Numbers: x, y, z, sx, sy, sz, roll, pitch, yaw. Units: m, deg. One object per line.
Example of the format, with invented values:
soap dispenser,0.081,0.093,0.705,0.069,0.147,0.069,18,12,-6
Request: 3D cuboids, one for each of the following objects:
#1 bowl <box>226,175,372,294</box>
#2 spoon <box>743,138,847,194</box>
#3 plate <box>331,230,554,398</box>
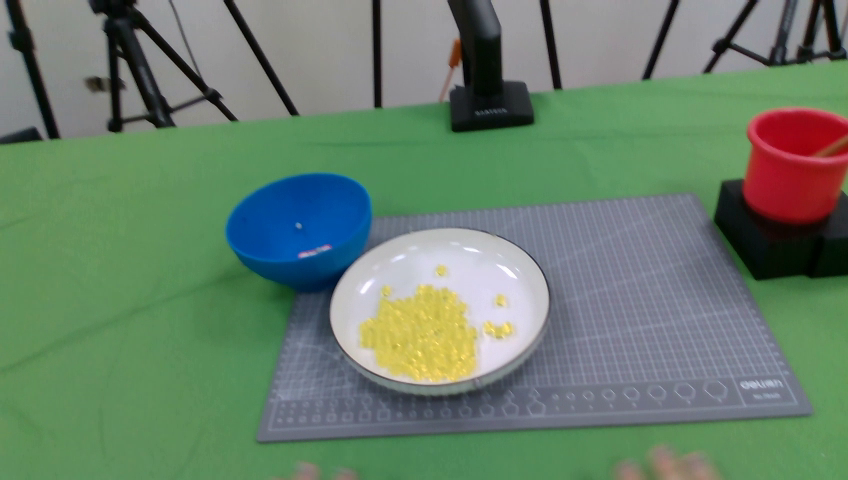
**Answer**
bowl,-0.124,0.004,0.645,0.151,0.077,0.150,-5,39,4
spoon,0.381,-0.085,0.538,0.194,0.022,0.041,-34,11,47
plate,0.018,0.068,0.576,0.207,0.039,0.205,-5,39,4
